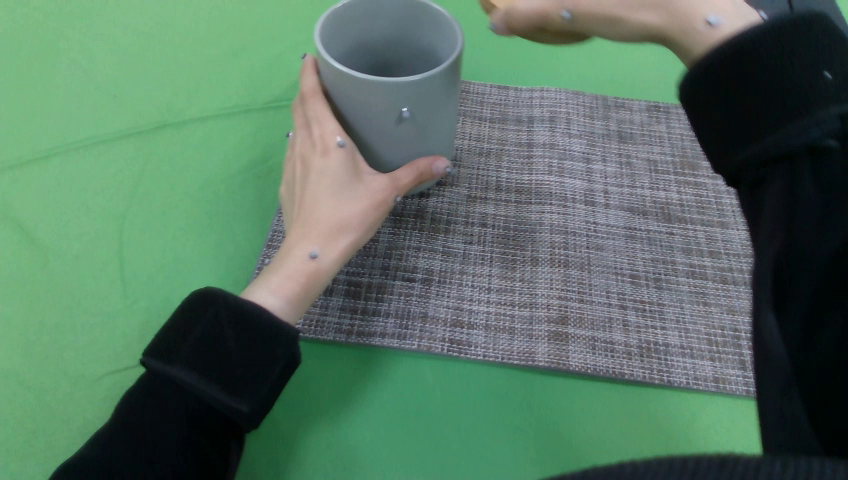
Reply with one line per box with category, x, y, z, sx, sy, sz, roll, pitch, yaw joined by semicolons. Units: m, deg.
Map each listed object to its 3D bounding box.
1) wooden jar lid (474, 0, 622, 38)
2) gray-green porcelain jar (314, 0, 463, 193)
wooden jar lid;0.075;-0.169;0.390;0.108;0.021;0.107;3;59;-5
gray-green porcelain jar;-0.027;-0.108;0.469;0.106;0.127;0.105;2;52;-2
